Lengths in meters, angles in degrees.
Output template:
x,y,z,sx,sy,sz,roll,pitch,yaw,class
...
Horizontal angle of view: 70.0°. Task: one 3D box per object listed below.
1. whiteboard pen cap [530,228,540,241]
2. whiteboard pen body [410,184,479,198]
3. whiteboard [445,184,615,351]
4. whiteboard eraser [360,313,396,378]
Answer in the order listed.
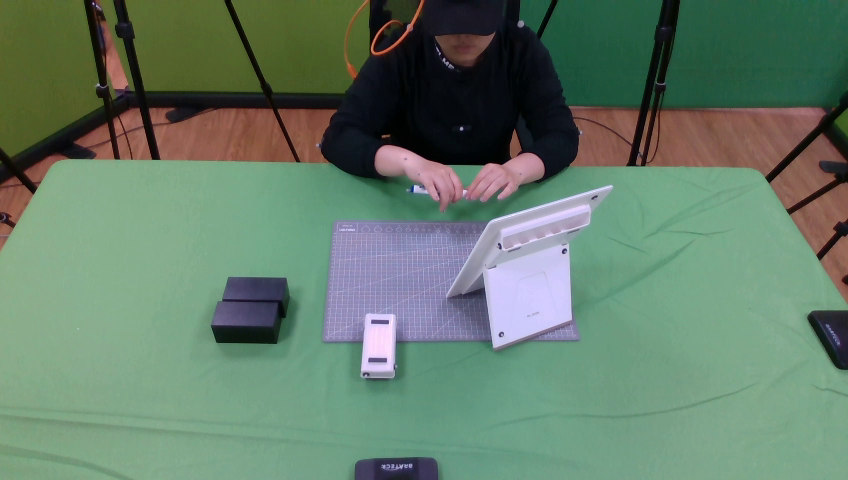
x,y,z,sx,sy,sz,roll,pitch,yaw,class
0.225,-0.011,1.221,0.018,0.018,0.033,13,29,8,whiteboard pen cap
0.041,-0.097,1.214,0.141,0.017,0.017,5,46,-8,whiteboard pen body
0.186,0.065,0.989,0.217,0.306,0.143,-15,68,-18,whiteboard
-0.075,0.176,1.006,0.055,0.042,0.112,3,50,-4,whiteboard eraser
